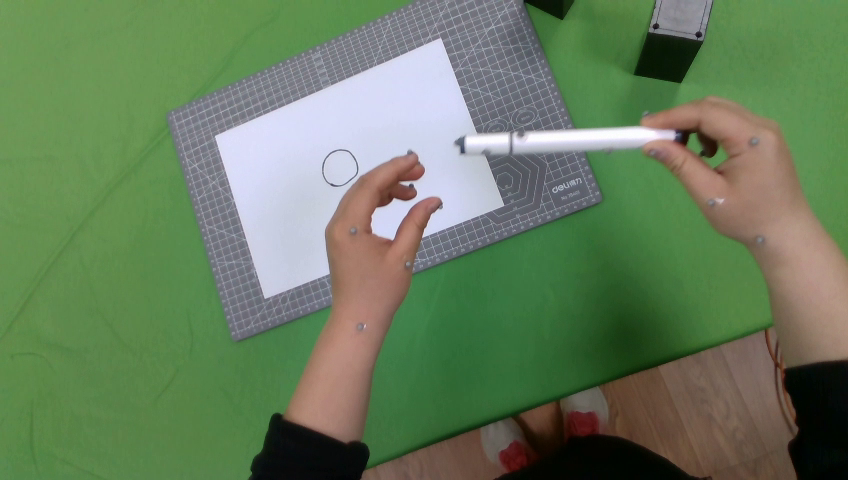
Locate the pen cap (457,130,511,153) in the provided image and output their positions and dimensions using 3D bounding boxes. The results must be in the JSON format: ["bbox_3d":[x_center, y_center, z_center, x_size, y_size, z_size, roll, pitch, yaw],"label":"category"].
[{"bbox_3d":[0.043,-0.071,0.437,0.038,0.017,0.017,-2,83,5],"label":"pen cap"}]

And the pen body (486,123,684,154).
[{"bbox_3d":[0.108,-0.071,0.429,0.144,0.017,0.017,-2,83,5],"label":"pen body"}]
